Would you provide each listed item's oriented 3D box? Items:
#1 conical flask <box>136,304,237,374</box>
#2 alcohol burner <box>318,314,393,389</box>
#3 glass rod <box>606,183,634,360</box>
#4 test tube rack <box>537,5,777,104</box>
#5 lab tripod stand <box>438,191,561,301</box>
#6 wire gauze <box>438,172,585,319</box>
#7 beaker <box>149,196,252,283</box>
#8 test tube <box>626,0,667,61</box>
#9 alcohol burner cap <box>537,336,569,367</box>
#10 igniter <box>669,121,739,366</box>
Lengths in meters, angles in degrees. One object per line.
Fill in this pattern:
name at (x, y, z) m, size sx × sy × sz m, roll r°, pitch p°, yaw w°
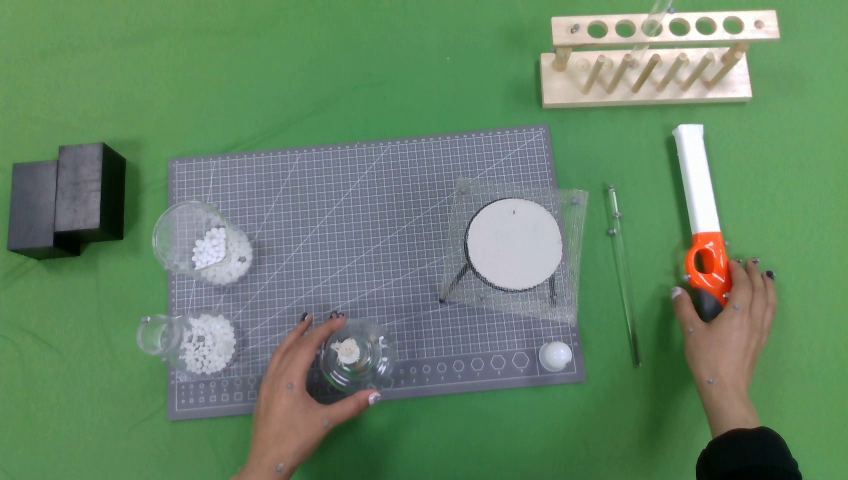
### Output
conical flask at (-0.242, 0.095, 0.608) m, size 0.075 × 0.122 × 0.075 m, roll 0°, pitch 77°, yaw 1°
alcohol burner at (-0.071, 0.111, 0.606) m, size 0.078 × 0.119 × 0.077 m, roll -1°, pitch 77°, yaw 3°
glass rod at (0.218, 0.033, 0.674) m, size 0.008 × 0.008 × 0.199 m, roll -4°, pitch 80°, yaw 0°
test tube rack at (0.257, -0.208, 0.688) m, size 0.242 × 0.085 × 0.066 m, roll -2°, pitch 77°, yaw 1°
lab tripod stand at (0.079, 0.016, 0.614) m, size 0.148 × 0.132 × 0.147 m, roll 0°, pitch 79°, yaw 2°
wire gauze at (0.081, 0.002, 0.548) m, size 0.125 × 0.011 × 0.121 m, roll 9°, pitch 79°, yaw 4°
beaker at (-0.227, 0.005, 0.640) m, size 0.084 × 0.100 × 0.074 m, roll 30°, pitch 80°, yaw 7°
test tube at (0.239, -0.233, 0.644) m, size 0.017 × 0.151 × 0.017 m, roll -1°, pitch 77°, yaw 4°
alcohol burner cap at (0.138, 0.115, 0.637) m, size 0.034 × 0.048 × 0.033 m, roll 0°, pitch 76°, yaw 1°
igniter at (0.308, -0.002, 0.671) m, size 0.057 × 0.025 × 0.275 m, roll -2°, pitch 77°, yaw -10°
